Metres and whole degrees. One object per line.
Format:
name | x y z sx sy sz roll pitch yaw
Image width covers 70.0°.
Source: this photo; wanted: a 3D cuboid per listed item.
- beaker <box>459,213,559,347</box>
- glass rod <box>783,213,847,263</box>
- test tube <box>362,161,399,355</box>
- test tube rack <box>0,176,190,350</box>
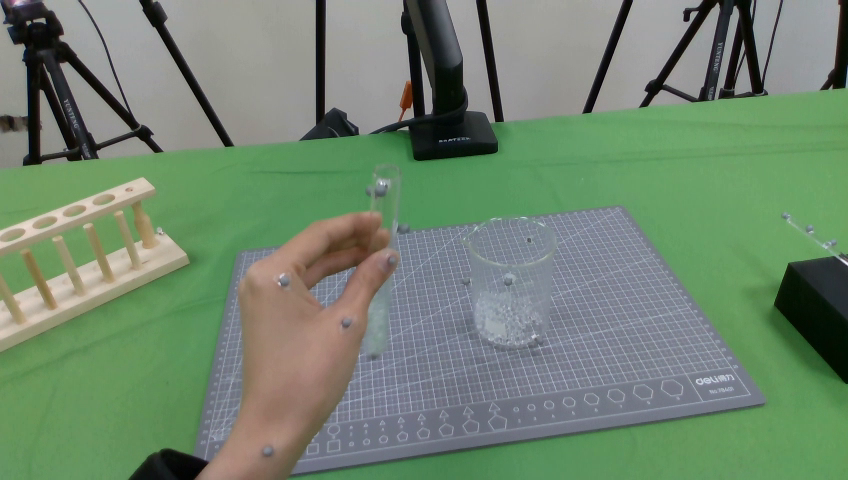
beaker | 0.073 0.038 0.535 0.083 0.101 0.073 6 37 15
glass rod | 0.381 0.029 0.515 0.008 0.008 0.197 -12 37 -11
test tube | -0.027 0.019 0.360 0.017 0.151 0.017 4 41 -3
test tube rack | -0.373 0.028 0.604 0.242 0.086 0.066 -29 44 -31
